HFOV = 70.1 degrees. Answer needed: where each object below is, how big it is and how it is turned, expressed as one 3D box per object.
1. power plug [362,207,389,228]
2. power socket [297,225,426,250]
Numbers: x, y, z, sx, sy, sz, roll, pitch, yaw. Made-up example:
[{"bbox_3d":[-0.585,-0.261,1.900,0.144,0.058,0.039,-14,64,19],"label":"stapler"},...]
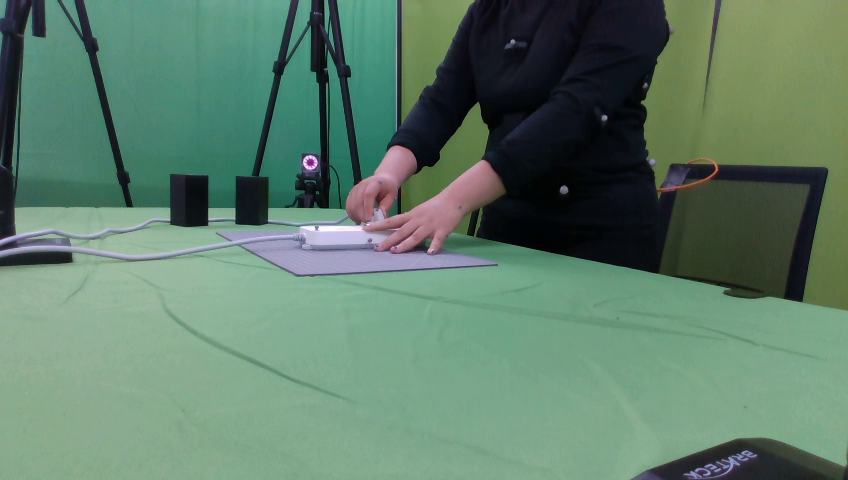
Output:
[{"bbox_3d":[-0.083,-0.030,1.032,0.035,0.052,0.072,-1,6,-16],"label":"power plug"},{"bbox_3d":[-0.099,-0.006,0.992,0.228,0.032,0.072,-2,7,-31],"label":"power socket"}]
